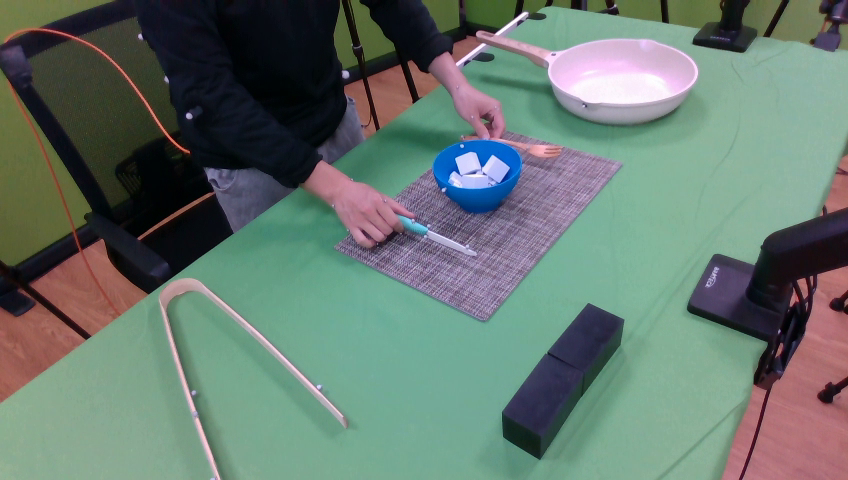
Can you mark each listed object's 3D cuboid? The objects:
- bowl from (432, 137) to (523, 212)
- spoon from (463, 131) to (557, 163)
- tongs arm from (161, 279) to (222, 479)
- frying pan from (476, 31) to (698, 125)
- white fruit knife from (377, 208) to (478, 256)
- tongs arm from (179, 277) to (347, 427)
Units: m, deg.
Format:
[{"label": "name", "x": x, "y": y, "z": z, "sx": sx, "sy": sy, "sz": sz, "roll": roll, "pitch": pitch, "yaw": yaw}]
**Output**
[{"label": "bowl", "x": 0.091, "y": -0.100, "z": 1.022, "sx": 0.151, "sy": 0.077, "sz": 0.150, "roll": -4, "pitch": 41, "yaw": 4}, {"label": "spoon", "x": 0.156, "y": -0.179, "z": 1.127, "sx": 0.192, "sy": 0.022, "sz": 0.041, "roll": 23, "pitch": 61, "yaw": 25}, {"label": "tongs arm", "x": -0.297, "y": 0.174, "z": 0.797, "sx": 0.051, "sy": 0.026, "sz": 0.381, "roll": -25, "pitch": 43, "yaw": -21}, {"label": "frying pan", "x": 0.321, "y": -0.371, "z": 1.290, "sx": 0.484, "sy": 0.103, "sz": 0.307, "roll": 29, "pitch": 51, "yaw": 23}, {"label": "white fruit knife", "x": 0.001, "y": -0.013, "z": 0.965, "sx": 0.206, "sy": 0.027, "sz": 0.016, "roll": 23, "pitch": 61, "yaw": 31}, {"label": "tongs arm", "x": -0.231, "y": 0.141, "z": 0.832, "sx": 0.384, "sy": 0.028, "sz": 0.028, "roll": 30, "pitch": 55, "yaw": 35}]
